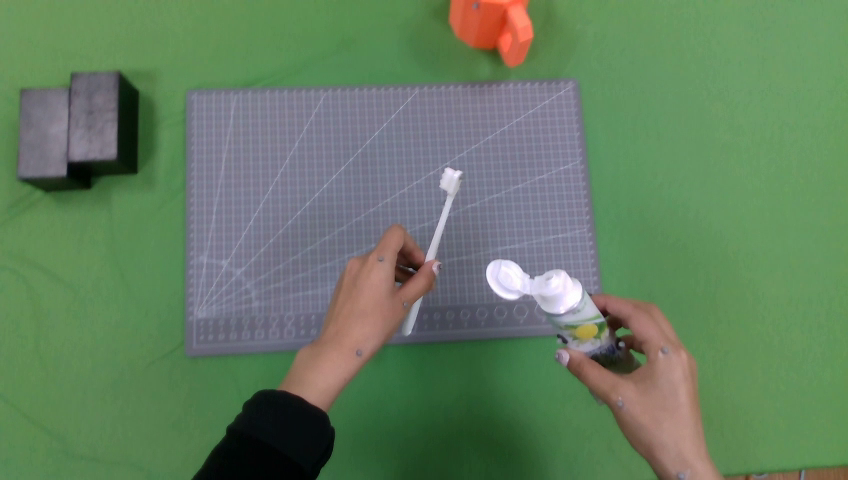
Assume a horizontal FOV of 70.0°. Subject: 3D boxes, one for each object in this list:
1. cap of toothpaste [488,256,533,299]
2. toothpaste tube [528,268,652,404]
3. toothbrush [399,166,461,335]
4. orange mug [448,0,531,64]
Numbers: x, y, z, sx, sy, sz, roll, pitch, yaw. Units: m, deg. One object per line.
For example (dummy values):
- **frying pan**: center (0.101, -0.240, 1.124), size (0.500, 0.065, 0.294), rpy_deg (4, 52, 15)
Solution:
- **cap of toothpaste**: center (0.066, 0.027, 0.459), size (0.037, 0.011, 0.037), rpy_deg (13, 58, -21)
- **toothpaste tube**: center (0.131, 0.081, 0.490), size (0.055, 0.034, 0.167), rpy_deg (-28, 123, 19)
- **toothbrush**: center (0.001, 0.014, 0.569), size (0.016, 0.014, 0.183), rpy_deg (26, 117, 17)
- **orange mug**: center (0.081, -0.265, 0.676), size (0.083, 0.101, 0.125), rpy_deg (-24, 77, -7)
